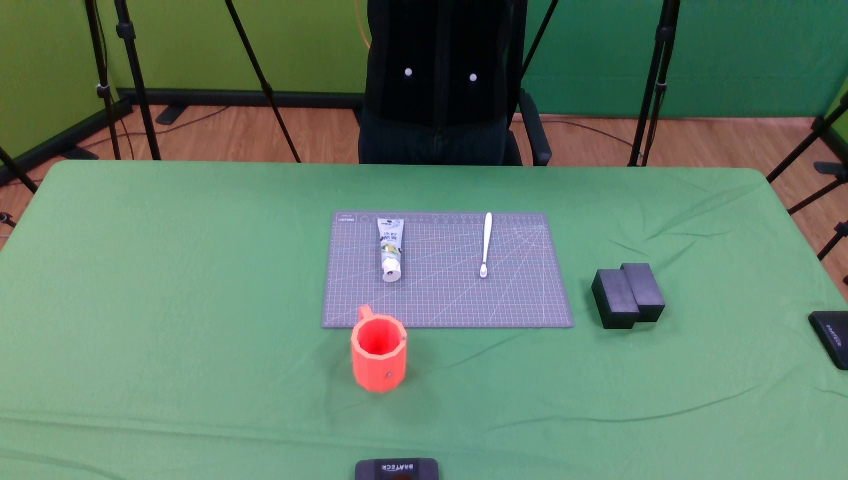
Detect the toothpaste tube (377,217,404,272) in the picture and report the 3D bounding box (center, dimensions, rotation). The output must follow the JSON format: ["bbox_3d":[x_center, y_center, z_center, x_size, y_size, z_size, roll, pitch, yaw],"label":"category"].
[{"bbox_3d":[-0.063,0.008,1.179,0.055,0.034,0.164,5,42,-9],"label":"toothpaste tube"}]

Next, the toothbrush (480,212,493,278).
[{"bbox_3d":[0.124,0.004,1.202,0.014,0.017,0.181,-2,43,13],"label":"toothbrush"}]

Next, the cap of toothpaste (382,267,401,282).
[{"bbox_3d":[-0.060,0.063,1.119,0.037,0.037,0.011,-9,50,-12],"label":"cap of toothpaste"}]

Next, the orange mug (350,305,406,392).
[{"bbox_3d":[-0.080,0.168,0.978,0.083,0.101,0.125,-16,54,-18],"label":"orange mug"}]
